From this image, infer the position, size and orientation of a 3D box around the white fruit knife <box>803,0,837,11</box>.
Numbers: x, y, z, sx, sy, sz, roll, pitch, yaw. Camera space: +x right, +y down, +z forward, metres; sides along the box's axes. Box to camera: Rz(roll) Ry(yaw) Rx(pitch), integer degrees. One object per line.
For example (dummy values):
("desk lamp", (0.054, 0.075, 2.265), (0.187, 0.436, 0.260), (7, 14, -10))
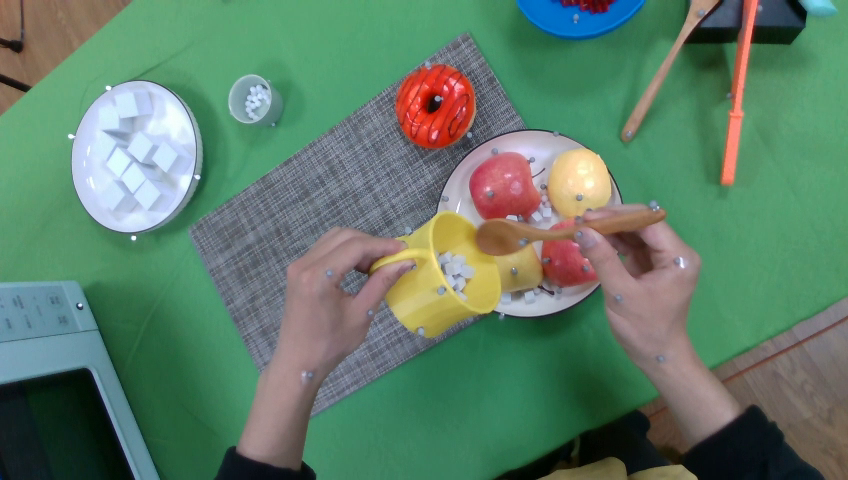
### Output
("white fruit knife", (0.326, -0.302, 0.580), (0.027, 0.016, 0.206), (-25, 79, -14))

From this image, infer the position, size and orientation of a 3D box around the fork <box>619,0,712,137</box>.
("fork", (0.253, -0.197, 0.615), (0.028, 0.018, 0.208), (27, 117, 7))

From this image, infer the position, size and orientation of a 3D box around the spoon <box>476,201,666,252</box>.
("spoon", (0.107, -0.010, 0.482), (0.021, 0.193, 0.042), (-46, 110, -25))

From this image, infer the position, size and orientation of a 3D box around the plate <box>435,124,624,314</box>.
("plate", (0.115, -0.023, 0.675), (0.208, 0.038, 0.209), (0, 89, 16))

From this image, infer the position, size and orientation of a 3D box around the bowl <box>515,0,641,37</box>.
("bowl", (0.168, -0.282, 0.645), (0.151, 0.077, 0.151), (0, 90, 16))

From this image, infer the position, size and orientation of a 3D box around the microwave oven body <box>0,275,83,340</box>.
("microwave oven body", (-0.559, 0.309, 0.754), (0.326, 0.261, 0.440), (-29, 82, 13))

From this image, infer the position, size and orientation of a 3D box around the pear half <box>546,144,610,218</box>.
("pear half", (0.160, -0.058, 0.648), (0.070, 0.031, 0.088), (1, 100, 40))

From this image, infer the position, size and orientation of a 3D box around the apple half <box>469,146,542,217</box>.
("apple half", (0.086, -0.062, 0.666), (0.074, 0.053, 0.080), (-14, 89, 17))

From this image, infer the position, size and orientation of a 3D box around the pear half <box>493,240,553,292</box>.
("pear half", (0.096, 0.025, 0.666), (0.109, 0.056, 0.076), (33, 102, 10))

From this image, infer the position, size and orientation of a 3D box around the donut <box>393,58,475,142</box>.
("donut", (0.011, -0.162, 0.704), (0.098, 0.048, 0.099), (0, 92, 19))

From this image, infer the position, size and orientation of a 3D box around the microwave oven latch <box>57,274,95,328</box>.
("microwave oven latch", (-0.486, 0.086, 0.835), (0.030, 0.029, 0.079), (-27, 83, 14))

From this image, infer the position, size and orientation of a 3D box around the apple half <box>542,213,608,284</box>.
("apple half", (0.152, 0.011, 0.646), (0.080, 0.033, 0.081), (7, 102, 38))

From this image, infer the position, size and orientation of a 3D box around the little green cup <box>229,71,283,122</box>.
("little green cup", (-0.213, -0.181, 0.777), (0.061, 0.039, 0.061), (0, 89, 17))

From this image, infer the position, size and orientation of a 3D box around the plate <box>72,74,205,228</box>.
("plate", (-0.384, -0.119, 0.827), (0.207, 0.039, 0.207), (0, 90, 17))

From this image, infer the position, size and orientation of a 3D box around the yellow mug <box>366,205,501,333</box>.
("yellow mug", (0.004, 0.025, 0.537), (0.064, 0.132, 0.099), (-29, 64, 33))

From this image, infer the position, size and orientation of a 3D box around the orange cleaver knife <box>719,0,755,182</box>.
("orange cleaver knife", (0.311, -0.165, 0.600), (0.012, 0.077, 0.213), (6, 117, 21))

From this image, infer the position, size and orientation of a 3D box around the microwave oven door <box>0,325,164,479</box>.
("microwave oven door", (-0.418, 0.277, 0.707), (0.039, 0.245, 0.354), (-29, 81, 14))
